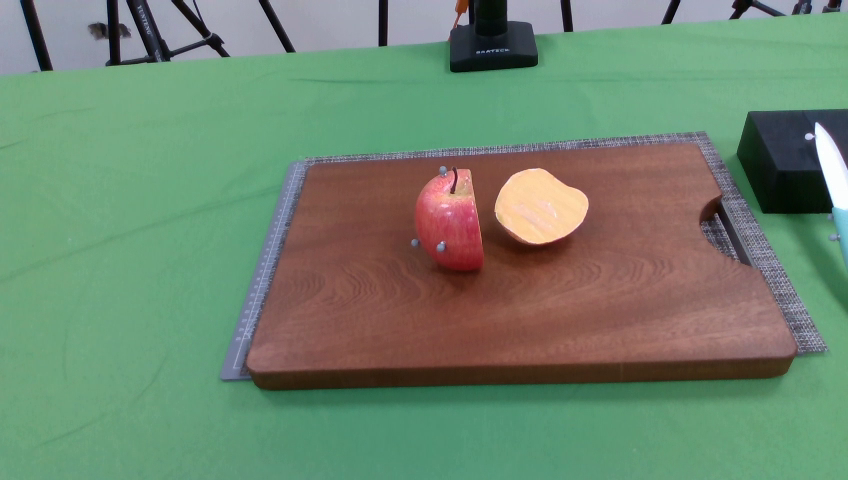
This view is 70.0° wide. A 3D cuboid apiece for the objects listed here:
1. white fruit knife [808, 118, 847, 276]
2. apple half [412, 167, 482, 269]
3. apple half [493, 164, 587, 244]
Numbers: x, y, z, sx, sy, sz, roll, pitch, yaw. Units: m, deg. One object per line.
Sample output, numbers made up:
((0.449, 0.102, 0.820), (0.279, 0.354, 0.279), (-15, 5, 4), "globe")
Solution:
((0.351, -0.022, 0.505), (0.027, 0.016, 0.205), (-1, 60, 7), "white fruit knife")
((0.018, -0.016, 0.501), (0.053, 0.075, 0.080), (-10, 46, 4), "apple half")
((0.098, -0.024, 0.529), (0.081, 0.033, 0.080), (-2, 58, 4), "apple half")
